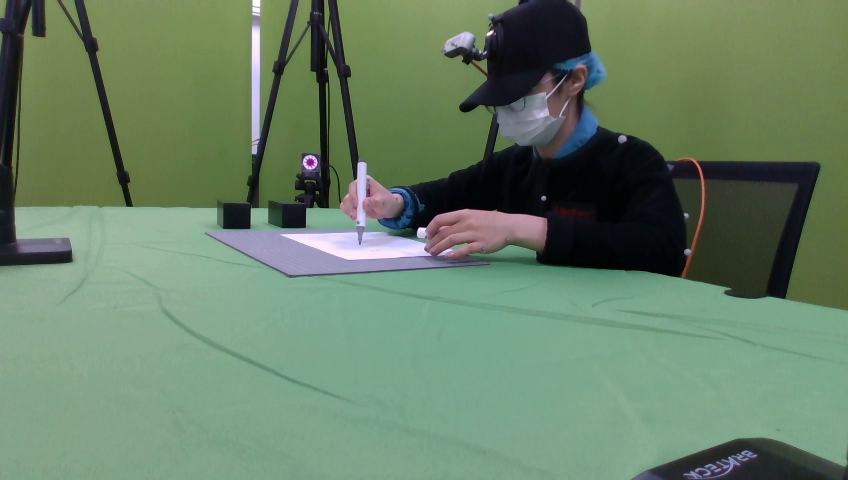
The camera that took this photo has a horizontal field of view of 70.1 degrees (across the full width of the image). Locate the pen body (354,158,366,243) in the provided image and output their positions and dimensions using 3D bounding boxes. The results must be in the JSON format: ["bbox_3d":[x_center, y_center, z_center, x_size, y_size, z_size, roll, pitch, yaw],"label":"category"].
[{"bbox_3d":[-0.106,-0.066,1.010,0.017,0.144,0.017,1,-8,0],"label":"pen body"}]

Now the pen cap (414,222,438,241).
[{"bbox_3d":[0.004,-0.011,0.916,0.038,0.017,0.017,33,24,34],"label":"pen cap"}]
